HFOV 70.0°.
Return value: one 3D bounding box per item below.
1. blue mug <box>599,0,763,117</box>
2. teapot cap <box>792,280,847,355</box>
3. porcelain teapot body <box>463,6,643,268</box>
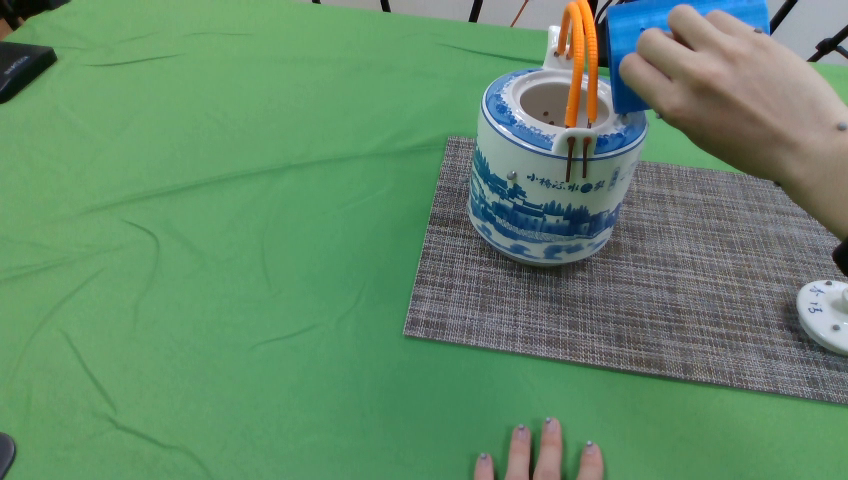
[{"bbox_3d":[0.188,-0.137,0.450,0.105,0.083,0.116,-6,20,15],"label":"blue mug"},{"bbox_3d":[0.370,0.063,0.532,0.085,0.044,0.084,4,43,-3],"label":"teapot cap"},{"bbox_3d":[0.116,-0.112,0.561,0.145,0.227,0.203,3,44,-1],"label":"porcelain teapot body"}]
